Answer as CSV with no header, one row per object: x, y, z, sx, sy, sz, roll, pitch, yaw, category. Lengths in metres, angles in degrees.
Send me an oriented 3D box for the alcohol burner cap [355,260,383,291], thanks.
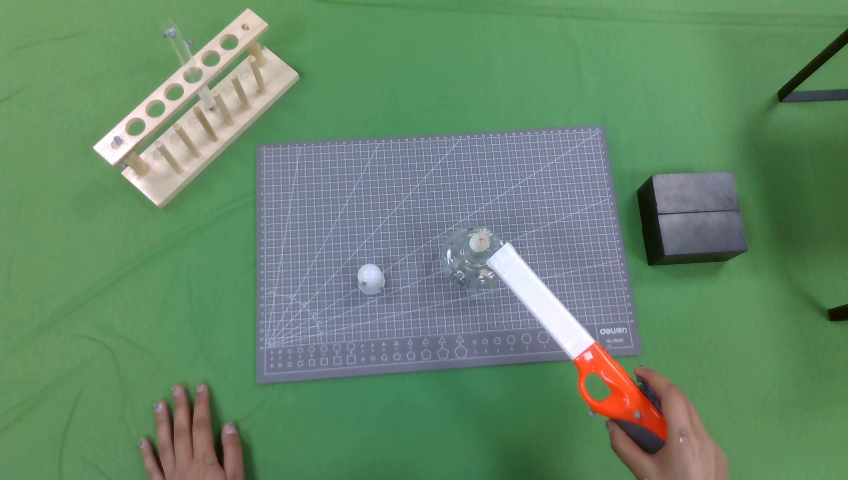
-0.065,0.040,0.708,0.034,0.048,0.033,0,74,0,alcohol burner cap

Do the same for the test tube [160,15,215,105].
-0.267,-0.201,0.694,0.017,0.151,0.017,1,69,-1,test tube

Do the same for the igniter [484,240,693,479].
0.157,0.113,0.580,0.057,0.025,0.275,-42,77,13,igniter

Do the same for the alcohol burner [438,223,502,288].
0.056,0.012,0.684,0.078,0.119,0.077,1,72,-3,alcohol burner

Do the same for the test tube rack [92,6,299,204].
-0.267,-0.162,0.734,0.066,0.085,0.242,40,76,9,test tube rack
